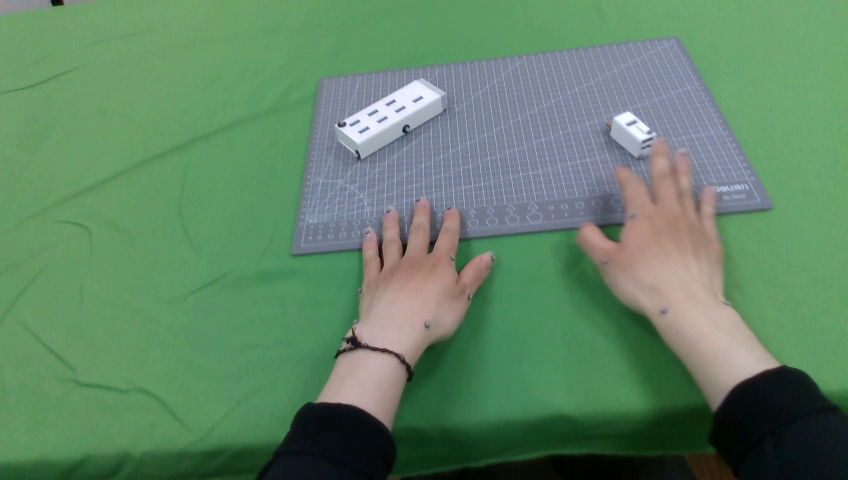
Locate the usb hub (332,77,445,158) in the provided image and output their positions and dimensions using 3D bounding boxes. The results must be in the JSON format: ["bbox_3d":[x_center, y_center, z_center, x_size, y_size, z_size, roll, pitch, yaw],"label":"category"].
[{"bbox_3d":[-0.039,-0.141,0.686,0.125,0.025,0.049,-34,52,-20],"label":"usb hub"}]

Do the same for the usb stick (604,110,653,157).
[{"bbox_3d":[0.207,-0.114,0.623,0.021,0.027,0.058,-25,47,-10],"label":"usb stick"}]
